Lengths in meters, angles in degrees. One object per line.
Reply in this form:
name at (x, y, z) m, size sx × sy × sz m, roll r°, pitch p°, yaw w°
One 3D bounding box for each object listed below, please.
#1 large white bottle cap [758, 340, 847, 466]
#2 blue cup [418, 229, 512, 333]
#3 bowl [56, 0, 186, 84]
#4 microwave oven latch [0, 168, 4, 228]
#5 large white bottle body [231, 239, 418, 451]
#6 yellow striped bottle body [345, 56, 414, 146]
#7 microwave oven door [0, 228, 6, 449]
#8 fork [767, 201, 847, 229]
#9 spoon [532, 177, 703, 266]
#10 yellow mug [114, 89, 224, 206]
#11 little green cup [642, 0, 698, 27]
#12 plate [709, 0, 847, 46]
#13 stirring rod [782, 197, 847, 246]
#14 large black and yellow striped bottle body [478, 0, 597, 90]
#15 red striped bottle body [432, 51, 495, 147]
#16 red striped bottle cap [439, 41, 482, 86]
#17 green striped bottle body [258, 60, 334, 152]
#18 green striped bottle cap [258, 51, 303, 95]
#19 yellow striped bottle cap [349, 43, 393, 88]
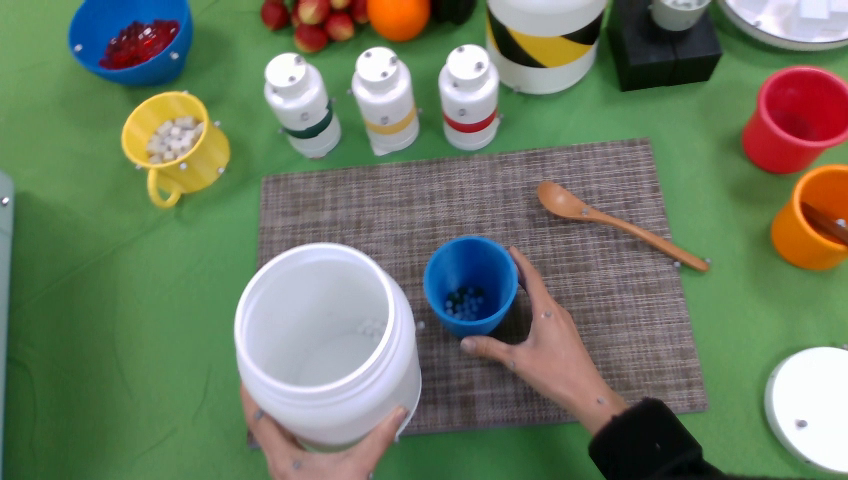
large white bottle cap at (0.375, 0.150, 0.565) m, size 0.115 × 0.018 × 0.114 m, roll -2°, pitch 67°, yaw 4°
blue cup at (0.041, 0.048, 0.587) m, size 0.092 × 0.101 × 0.092 m, roll -2°, pitch 67°, yaw 5°
bowl at (-0.362, -0.251, 0.760) m, size 0.151 × 0.077 × 0.150 m, roll -1°, pitch 68°, yaw 4°
microwave oven latch at (-0.504, -0.051, 0.696) m, size 0.030 × 0.030 × 0.078 m, roll -12°, pitch 68°, yaw 0°
large white bottle body at (-0.073, 0.089, 0.485) m, size 0.130 × 0.186 × 0.129 m, roll -1°, pitch 62°, yaw 2°
yellow striped bottle body at (-0.050, -0.160, 0.672) m, size 0.063 × 0.121 × 0.062 m, roll -2°, pitch 68°, yaw 6°
microwave oven door at (-0.465, 0.108, 0.520) m, size 0.039 × 0.245 × 0.353 m, roll -15°, pitch 68°, yaw 0°
fork at (0.413, -0.008, 0.551) m, size 0.028 × 0.205 × 0.019 m, roll -25°, pitch 112°, yaw -19°
spoon at (0.202, -0.019, 0.641) m, size 0.193 × 0.022 × 0.041 m, roll 25°, pitch 48°, yaw 14°
yellow mug at (-0.297, -0.101, 0.701) m, size 0.100 × 0.064 × 0.130 m, roll 4°, pitch 69°, yaw 6°
little green cup at (0.274, -0.271, 0.675) m, size 0.061 × 0.039 × 0.061 m, roll -1°, pitch 67°, yaw 4°
plate at (0.440, -0.315, 0.732) m, size 0.209 × 0.038 × 0.207 m, roll -2°, pitch 69°, yaw 5°
stirring rod at (0.384, -0.007, 0.562) m, size 0.014 × 0.006 × 0.175 m, roll -3°, pitch 25°, yaw 2°
large black and yellow striped bottle body at (0.124, -0.269, 0.665) m, size 0.130 × 0.185 × 0.130 m, roll -2°, pitch 68°, yaw 5°
red striped bottle body at (0.044, -0.159, 0.663) m, size 0.063 × 0.121 × 0.062 m, roll -4°, pitch 66°, yaw 9°
red striped bottle cap at (0.037, -0.180, 0.615) m, size 0.044 × 0.018 × 0.044 m, roll 0°, pitch 67°, yaw 1°
green striped bottle body at (-0.144, -0.155, 0.679) m, size 0.063 × 0.120 × 0.062 m, roll -2°, pitch 68°, yaw 5°
green striped bottle cap at (-0.150, -0.174, 0.631) m, size 0.044 × 0.020 × 0.044 m, roll -2°, pitch 67°, yaw 4°
yellow striped bottle cap at (-0.055, -0.180, 0.624) m, size 0.044 × 0.019 × 0.044 m, roll -1°, pitch 70°, yaw 4°
